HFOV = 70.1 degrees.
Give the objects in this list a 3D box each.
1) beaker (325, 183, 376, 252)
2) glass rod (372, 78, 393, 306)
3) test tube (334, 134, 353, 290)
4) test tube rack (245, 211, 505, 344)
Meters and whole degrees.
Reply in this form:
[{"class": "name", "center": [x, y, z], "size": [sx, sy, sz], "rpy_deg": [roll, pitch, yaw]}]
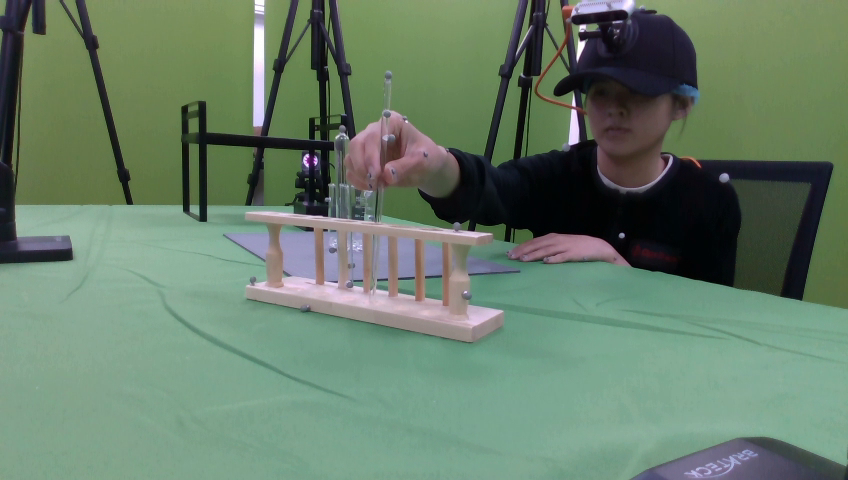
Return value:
[{"class": "beaker", "center": [-0.110, -0.034, 0.920], "size": [0.083, 0.100, 0.074], "rpy_deg": [11, 11, 43]}, {"class": "glass rod", "center": [-0.035, -0.039, 0.522], "size": [0.008, 0.199, 0.008], "rpy_deg": [4, 4, 0]}, {"class": "test tube", "center": [-0.077, -0.026, 0.579], "size": [0.017, 0.150, 0.017], "rpy_deg": [0, 7, 0]}, {"class": "test tube rack", "center": [-0.049, 0.025, 0.547], "size": [0.241, 0.085, 0.067], "rpy_deg": [7, 8, 29]}]
